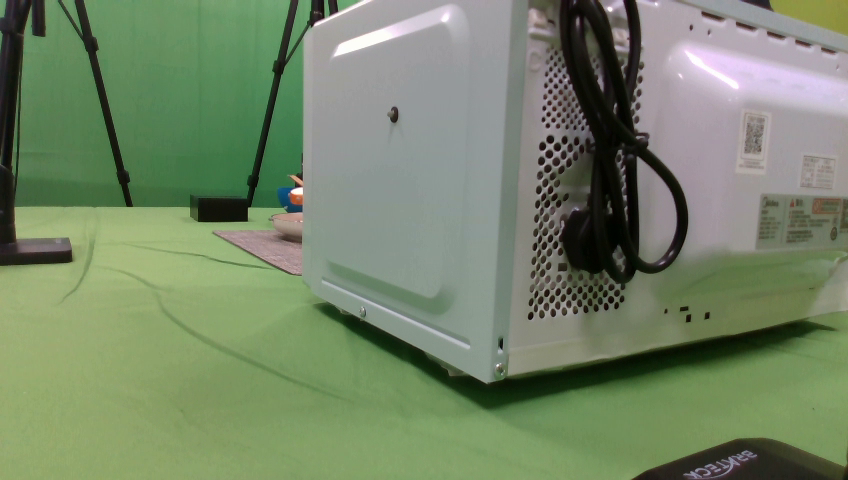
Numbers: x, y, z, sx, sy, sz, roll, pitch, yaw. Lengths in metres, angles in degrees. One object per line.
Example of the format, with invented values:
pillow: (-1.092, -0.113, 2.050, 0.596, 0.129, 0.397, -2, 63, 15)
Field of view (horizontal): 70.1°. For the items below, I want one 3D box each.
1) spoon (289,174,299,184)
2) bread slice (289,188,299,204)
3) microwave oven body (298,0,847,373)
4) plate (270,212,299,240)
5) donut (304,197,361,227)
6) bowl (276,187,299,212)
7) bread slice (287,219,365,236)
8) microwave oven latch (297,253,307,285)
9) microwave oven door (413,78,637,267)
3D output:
spoon: (-0.261, -0.111, 1.343, 0.042, 0.021, 0.192, -7, 33, -31)
bread slice: (-0.167, -0.079, 1.052, 0.132, 0.019, 0.105, 0, 13, -1)
microwave oven body: (0.151, -0.055, 0.543, 0.444, 0.260, 0.324, -1, 7, -33)
plate: (-0.162, -0.022, 1.058, 0.208, 0.039, 0.207, 2, 7, 0)
donut: (-0.160, -0.049, 1.056, 0.099, 0.048, 0.099, 4, 8, 0)
bowl: (-0.241, -0.073, 1.302, 0.151, 0.077, 0.151, 2, 7, 0)
bread slice: (-0.170, -0.022, 1.057, 0.134, 0.018, 0.107, 1, 7, -6)
microwave oven latch: (-0.082, 0.027, 0.582, 0.079, 0.029, 0.030, -1, 7, -32)
microwave oven door: (0.128, -0.104, 0.889, 0.354, 0.243, 0.039, 9, 10, 41)
